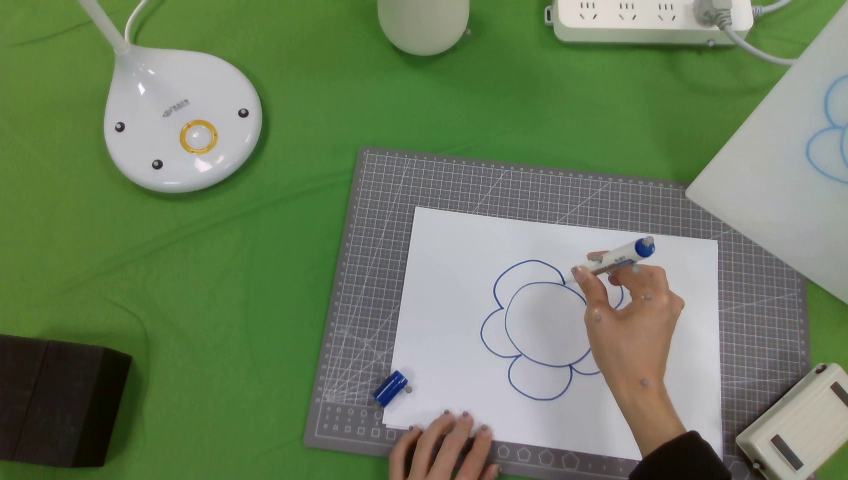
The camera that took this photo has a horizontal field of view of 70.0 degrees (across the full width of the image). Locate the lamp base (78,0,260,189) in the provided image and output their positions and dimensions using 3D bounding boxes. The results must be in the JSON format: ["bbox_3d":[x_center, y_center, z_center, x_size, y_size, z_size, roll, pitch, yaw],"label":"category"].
[{"bbox_3d":[-0.262,-0.159,0.559,0.178,0.181,0.160,39,76,15],"label":"lamp base"}]

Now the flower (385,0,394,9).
[{"bbox_3d":[0.011,-0.289,0.502,0.044,0.361,0.038,-36,92,-19],"label":"flower"}]

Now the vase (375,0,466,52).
[{"bbox_3d":[-0.006,-0.273,0.583,0.098,0.201,0.097,-1,71,2],"label":"vase"}]

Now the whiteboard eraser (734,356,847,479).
[{"bbox_3d":[0.326,0.154,0.523,0.112,0.042,0.055,-36,74,-10],"label":"whiteboard eraser"}]

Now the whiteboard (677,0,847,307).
[{"bbox_3d":[0.410,-0.110,0.504,0.216,0.307,0.143,37,55,12],"label":"whiteboard"}]

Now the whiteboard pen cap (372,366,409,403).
[{"bbox_3d":[-0.029,0.130,0.547,0.018,0.018,0.033,41,75,13],"label":"whiteboard pen cap"}]

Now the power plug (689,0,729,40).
[{"bbox_3d":[0.293,-0.233,0.631,0.035,0.053,0.072,11,79,4],"label":"power plug"}]

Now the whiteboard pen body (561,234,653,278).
[{"bbox_3d":[0.150,0.018,0.518,0.017,0.141,0.017,3,76,-13],"label":"whiteboard pen body"}]

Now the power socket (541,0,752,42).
[{"bbox_3d":[0.244,-0.255,0.663,0.227,0.033,0.072,2,73,1],"label":"power socket"}]
